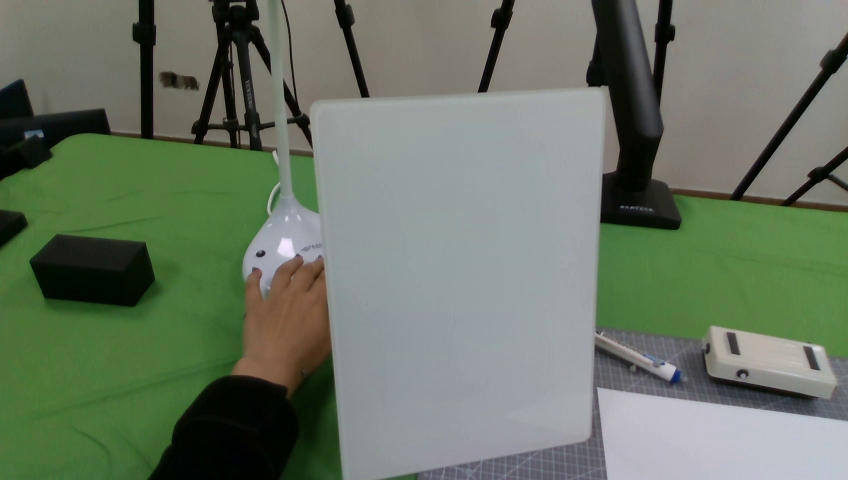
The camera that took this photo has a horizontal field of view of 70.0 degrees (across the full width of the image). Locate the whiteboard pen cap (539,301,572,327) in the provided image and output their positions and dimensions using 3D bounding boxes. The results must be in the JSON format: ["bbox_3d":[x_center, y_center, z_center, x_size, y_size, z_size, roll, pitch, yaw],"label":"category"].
[{"bbox_3d":[0.140,0.078,0.641,0.033,0.018,0.018,26,41,20],"label":"whiteboard pen cap"}]

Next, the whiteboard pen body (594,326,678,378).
[{"bbox_3d":[0.189,0.103,0.618,0.140,0.017,0.017,25,41,22],"label":"whiteboard pen body"}]

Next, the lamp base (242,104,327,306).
[{"bbox_3d":[-0.133,-0.047,0.666,0.161,0.182,0.177,-25,42,-33],"label":"lamp base"}]

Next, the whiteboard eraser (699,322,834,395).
[{"bbox_3d":[0.332,0.117,0.594,0.112,0.042,0.055,10,34,8],"label":"whiteboard eraser"}]

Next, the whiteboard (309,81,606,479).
[{"bbox_3d":[0.021,0.022,0.527,0.218,0.307,0.142,-6,18,-11],"label":"whiteboard"}]
